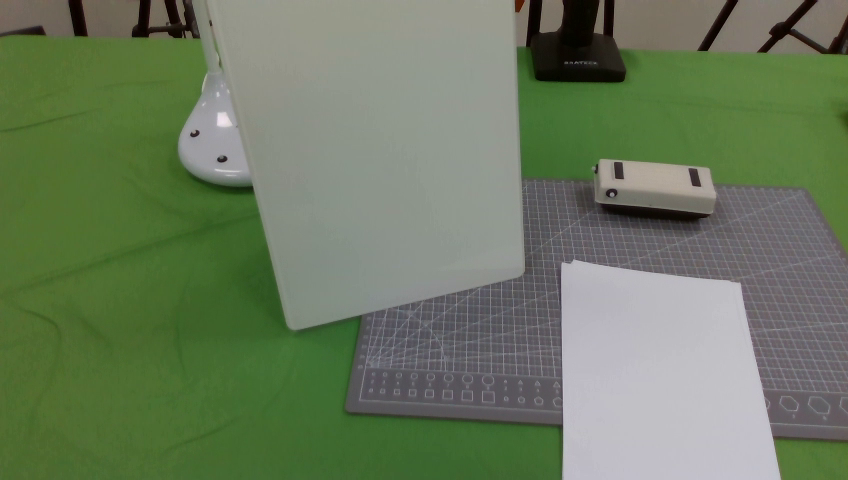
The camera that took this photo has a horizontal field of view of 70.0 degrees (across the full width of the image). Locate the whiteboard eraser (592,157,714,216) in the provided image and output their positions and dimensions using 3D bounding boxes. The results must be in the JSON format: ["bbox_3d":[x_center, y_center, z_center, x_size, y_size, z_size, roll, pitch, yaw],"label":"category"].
[{"bbox_3d":[0.229,-0.053,0.614,0.112,0.042,0.055,7,45,7],"label":"whiteboard eraser"}]

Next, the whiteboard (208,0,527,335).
[{"bbox_3d":[-0.044,-0.106,0.523,0.217,0.307,0.142,-12,26,-11],"label":"whiteboard"}]

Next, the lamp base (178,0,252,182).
[{"bbox_3d":[-0.207,-0.179,0.647,0.160,0.182,0.177,-34,51,-31],"label":"lamp base"}]
